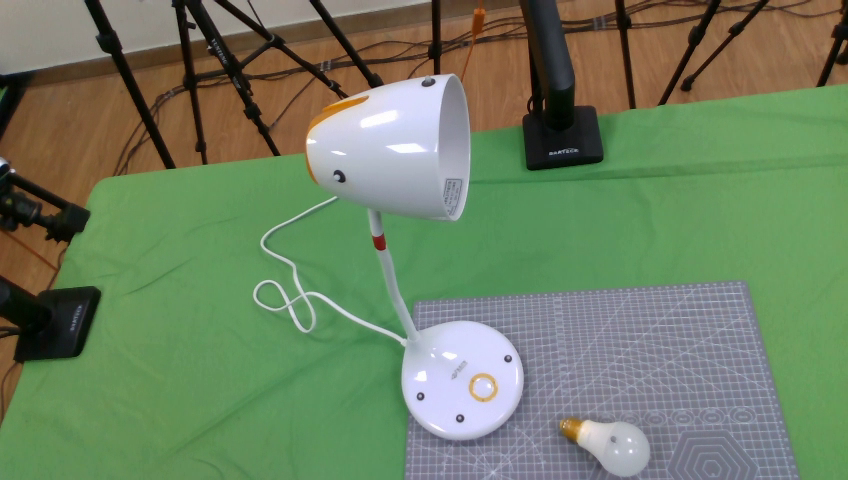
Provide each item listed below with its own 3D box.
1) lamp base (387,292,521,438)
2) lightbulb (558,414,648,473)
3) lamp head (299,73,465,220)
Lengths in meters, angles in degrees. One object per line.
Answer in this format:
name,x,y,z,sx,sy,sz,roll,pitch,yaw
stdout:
lamp base,0.020,0.133,0.733,0.178,0.182,0.160,18,63,26
lightbulb,0.206,0.231,0.708,0.107,0.060,0.059,12,61,38
lamp head,-0.032,-0.068,0.479,0.122,0.113,0.111,-3,57,19
